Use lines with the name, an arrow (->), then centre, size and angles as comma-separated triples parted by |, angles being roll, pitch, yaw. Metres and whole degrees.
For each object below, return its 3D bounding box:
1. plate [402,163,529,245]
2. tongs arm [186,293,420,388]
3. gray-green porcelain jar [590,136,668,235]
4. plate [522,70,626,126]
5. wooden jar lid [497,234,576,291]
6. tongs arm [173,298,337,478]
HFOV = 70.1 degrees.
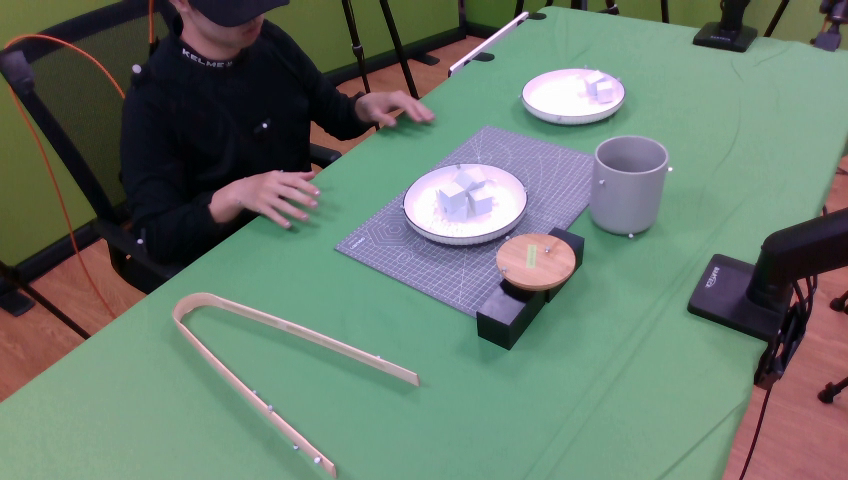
plate -> 0.069, -0.056, 1.008 | 0.209, 0.038, 0.208 | -4, 40, 4
tongs arm -> -0.177, 0.134, 0.835 | 0.385, 0.028, 0.028 | 15, 47, 24
gray-green porcelain jar -> 0.314, -0.080, 0.937 | 0.106, 0.127, 0.105 | -4, 41, 4
plate -> 0.308, -0.290, 1.251 | 0.207, 0.039, 0.206 | -4, 40, 4
wooden jar lid -> 0.155, 0.032, 0.834 | 0.108, 0.021, 0.108 | -5, 40, 5
tongs arm -> -0.226, 0.176, 0.785 | 0.381, 0.026, 0.051 | 26, 49, 34
